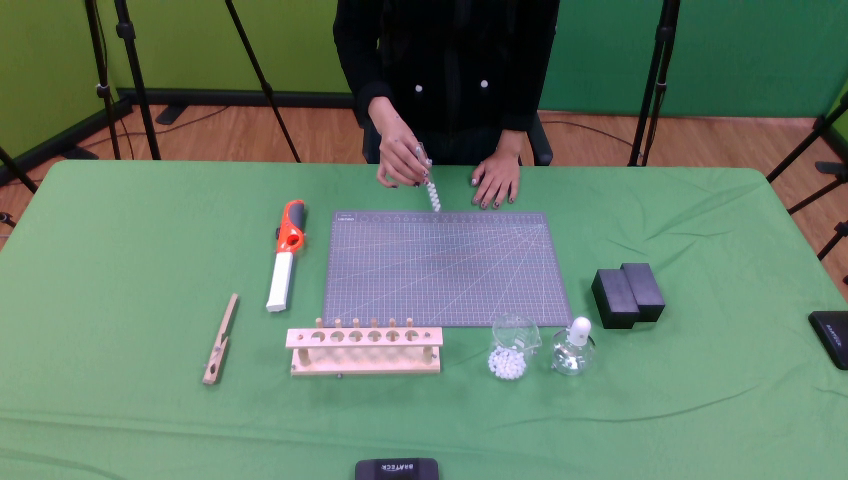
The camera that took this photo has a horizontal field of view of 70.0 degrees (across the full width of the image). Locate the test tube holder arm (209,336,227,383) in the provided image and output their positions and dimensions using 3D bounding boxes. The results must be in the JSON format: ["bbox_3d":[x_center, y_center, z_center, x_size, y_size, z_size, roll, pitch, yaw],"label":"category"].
[{"bbox_3d":[-0.338,0.193,0.991,0.010,0.015,0.087,28,39,-26],"label":"test tube holder arm"}]

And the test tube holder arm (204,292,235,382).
[{"bbox_3d":[-0.343,0.159,1.020,0.013,0.015,0.177,27,39,-27],"label":"test tube holder arm"}]

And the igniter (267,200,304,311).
[{"bbox_3d":[-0.263,0.020,1.156,0.057,0.025,0.274,-6,46,4],"label":"igniter"}]

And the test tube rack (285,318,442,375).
[{"bbox_3d":[-0.095,0.168,0.986,0.242,0.085,0.066,0,46,-4],"label":"test tube rack"}]

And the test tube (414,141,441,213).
[{"bbox_3d":[0.008,-0.109,1.077,0.017,0.151,0.017,-11,39,9],"label":"test tube"}]

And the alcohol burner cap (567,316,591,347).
[{"bbox_3d":[0.249,0.143,0.965,0.034,0.048,0.033,4,40,-3],"label":"alcohol burner cap"}]

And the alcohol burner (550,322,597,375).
[{"bbox_3d":[0.248,0.168,0.991,0.078,0.119,0.077,2,48,-2],"label":"alcohol burner"}]

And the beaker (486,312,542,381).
[{"bbox_3d":[0.144,0.177,0.985,0.084,0.101,0.074,22,49,16],"label":"beaker"}]
